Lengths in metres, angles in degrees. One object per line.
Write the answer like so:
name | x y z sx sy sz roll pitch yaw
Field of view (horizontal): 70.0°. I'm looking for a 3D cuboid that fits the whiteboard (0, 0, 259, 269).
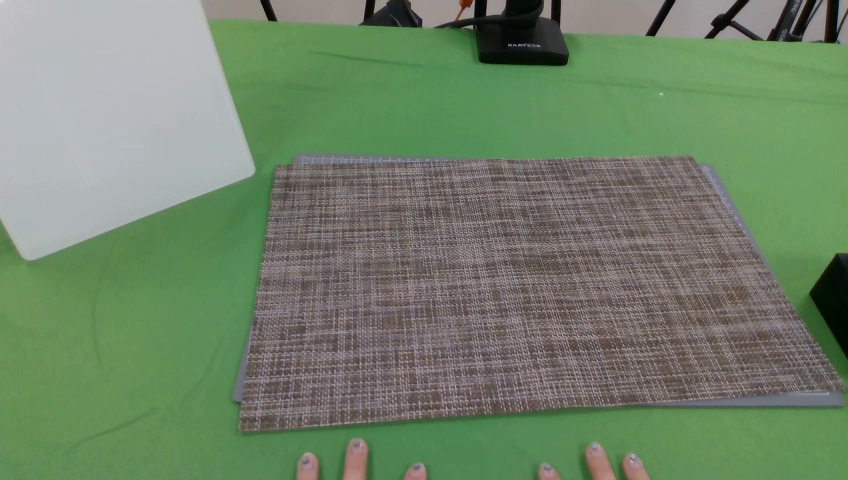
whiteboard | -0.316 -0.171 0.543 0.217 0.308 0.142 -27 32 -27
